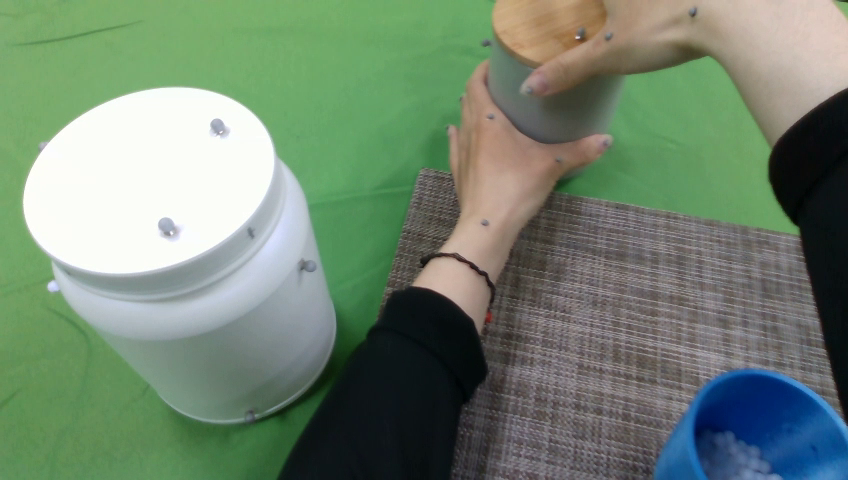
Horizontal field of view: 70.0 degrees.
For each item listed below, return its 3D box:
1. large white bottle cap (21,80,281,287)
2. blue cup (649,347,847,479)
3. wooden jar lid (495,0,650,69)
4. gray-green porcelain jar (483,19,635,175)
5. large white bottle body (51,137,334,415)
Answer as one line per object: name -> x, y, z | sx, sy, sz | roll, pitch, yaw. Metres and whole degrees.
large white bottle cap -> -0.127, -0.031, 0.288 | 0.115, 0.018, 0.114 | 1, 57, 0
blue cup -> 0.171, 0.127, 0.340 | 0.092, 0.101, 0.092 | 0, 55, 0
wooden jar lid -> 0.105, -0.157, 0.437 | 0.108, 0.021, 0.107 | -2, 56, 3
gray-green porcelain jar -> 0.103, -0.124, 0.489 | 0.106, 0.127, 0.105 | 0, 57, 0
large white bottle body -> -0.127, 0.015, 0.359 | 0.131, 0.186, 0.129 | 1, 57, -1
